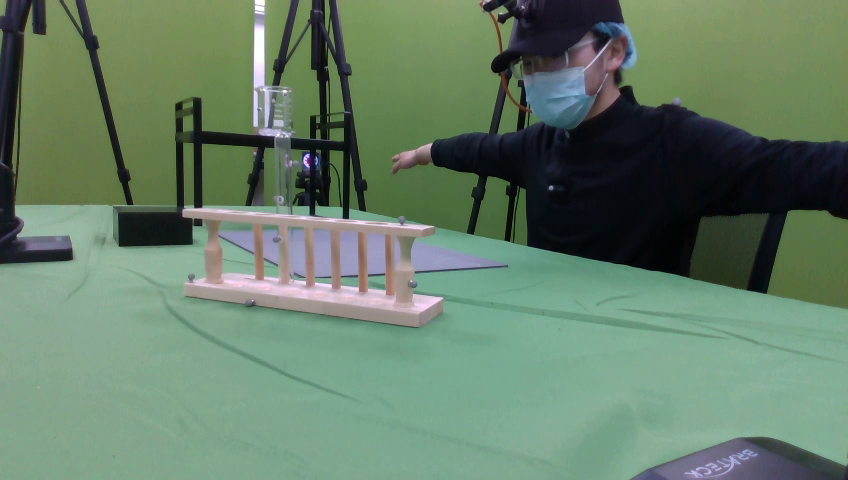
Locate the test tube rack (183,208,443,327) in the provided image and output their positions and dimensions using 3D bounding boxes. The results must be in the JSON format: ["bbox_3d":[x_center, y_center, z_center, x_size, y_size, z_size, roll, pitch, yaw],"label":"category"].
[{"bbox_3d":[-0.106,0.019,0.570,0.241,0.085,0.067,5,8,19],"label":"test tube rack"}]

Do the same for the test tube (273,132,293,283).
[{"bbox_3d":[-0.139,-0.030,0.596,0.017,0.150,0.017,1,9,0],"label":"test tube"}]

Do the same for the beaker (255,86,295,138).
[{"bbox_3d":[-0.309,-0.263,1.251,0.084,0.100,0.073,-4,9,-38],"label":"beaker"}]
